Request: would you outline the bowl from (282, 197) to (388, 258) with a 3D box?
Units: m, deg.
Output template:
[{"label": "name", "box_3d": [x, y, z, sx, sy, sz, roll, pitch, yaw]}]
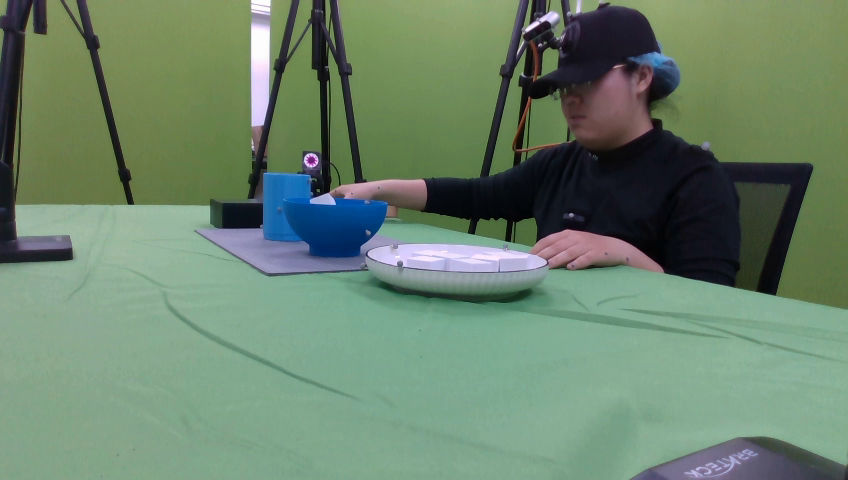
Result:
[{"label": "bowl", "box_3d": [-0.128, -0.018, 0.869, 0.151, 0.077, 0.151, 2, 8, 0]}]

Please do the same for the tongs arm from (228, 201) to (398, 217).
[{"label": "tongs arm", "box_3d": [-0.236, -0.068, 1.351, 0.386, 0.026, 0.050, 0, -2, -22]}]

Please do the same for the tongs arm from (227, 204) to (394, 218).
[{"label": "tongs arm", "box_3d": [-0.259, -0.068, 1.418, 0.389, 0.027, 0.028, 0, -5, -12]}]

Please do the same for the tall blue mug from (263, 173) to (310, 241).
[{"label": "tall blue mug", "box_3d": [-0.233, -0.058, 1.019, 0.078, 0.108, 0.107, -1, 8, -19]}]

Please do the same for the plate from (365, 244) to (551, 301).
[{"label": "plate", "box_3d": [0.038, 0.035, 0.685, 0.209, 0.038, 0.209, 2, 7, 0]}]
